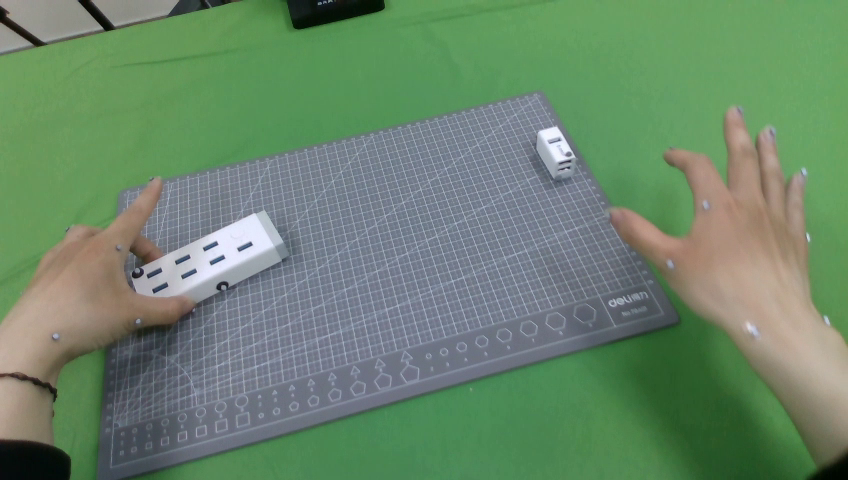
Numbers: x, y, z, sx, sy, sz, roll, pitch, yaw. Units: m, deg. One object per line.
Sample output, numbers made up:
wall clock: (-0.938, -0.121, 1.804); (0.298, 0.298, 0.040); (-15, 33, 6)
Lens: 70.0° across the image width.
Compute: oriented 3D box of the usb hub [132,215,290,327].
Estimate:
usb hub: (-0.185, 0.025, 0.529); (0.125, 0.025, 0.049); (-27, 55, -15)

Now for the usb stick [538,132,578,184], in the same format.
usb stick: (0.125, -0.083, 0.578); (0.021, 0.027, 0.058); (-17, 50, -4)
